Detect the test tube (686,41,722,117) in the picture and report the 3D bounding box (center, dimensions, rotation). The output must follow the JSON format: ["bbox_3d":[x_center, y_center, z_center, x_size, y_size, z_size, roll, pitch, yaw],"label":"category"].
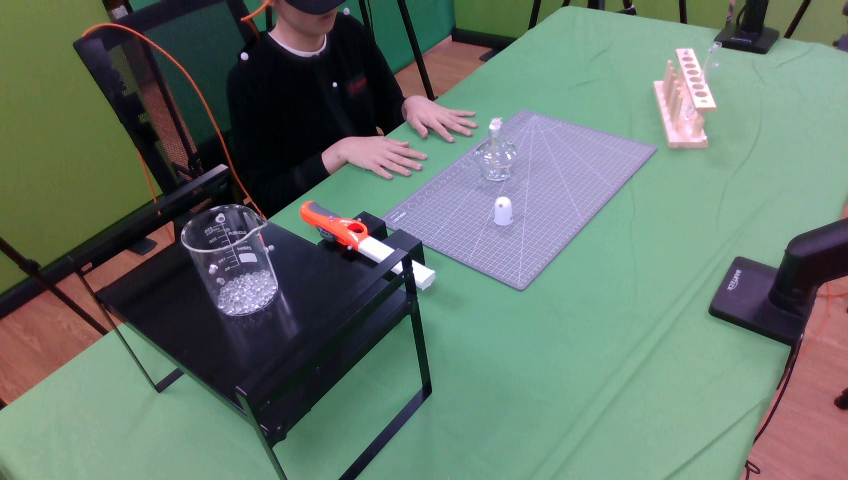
[{"bbox_3d":[0.510,-0.290,1.105,0.017,0.150,0.017,2,44,-1],"label":"test tube"}]

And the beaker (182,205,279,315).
[{"bbox_3d":[-0.197,0.024,0.641,0.084,0.101,0.073,-12,41,-6],"label":"beaker"}]

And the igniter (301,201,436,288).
[{"bbox_3d":[-0.094,0.001,0.913,0.274,0.025,0.057,28,49,32],"label":"igniter"}]

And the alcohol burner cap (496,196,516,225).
[{"bbox_3d":[0.134,-0.051,0.995,0.034,0.048,0.033,-5,42,5],"label":"alcohol burner cap"}]

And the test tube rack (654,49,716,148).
[{"bbox_3d":[0.502,-0.281,1.176,0.066,0.085,0.241,1,41,11],"label":"test tube rack"}]

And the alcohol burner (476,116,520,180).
[{"bbox_3d":[0.131,-0.167,1.075,0.078,0.120,0.077,-6,41,6],"label":"alcohol burner"}]
